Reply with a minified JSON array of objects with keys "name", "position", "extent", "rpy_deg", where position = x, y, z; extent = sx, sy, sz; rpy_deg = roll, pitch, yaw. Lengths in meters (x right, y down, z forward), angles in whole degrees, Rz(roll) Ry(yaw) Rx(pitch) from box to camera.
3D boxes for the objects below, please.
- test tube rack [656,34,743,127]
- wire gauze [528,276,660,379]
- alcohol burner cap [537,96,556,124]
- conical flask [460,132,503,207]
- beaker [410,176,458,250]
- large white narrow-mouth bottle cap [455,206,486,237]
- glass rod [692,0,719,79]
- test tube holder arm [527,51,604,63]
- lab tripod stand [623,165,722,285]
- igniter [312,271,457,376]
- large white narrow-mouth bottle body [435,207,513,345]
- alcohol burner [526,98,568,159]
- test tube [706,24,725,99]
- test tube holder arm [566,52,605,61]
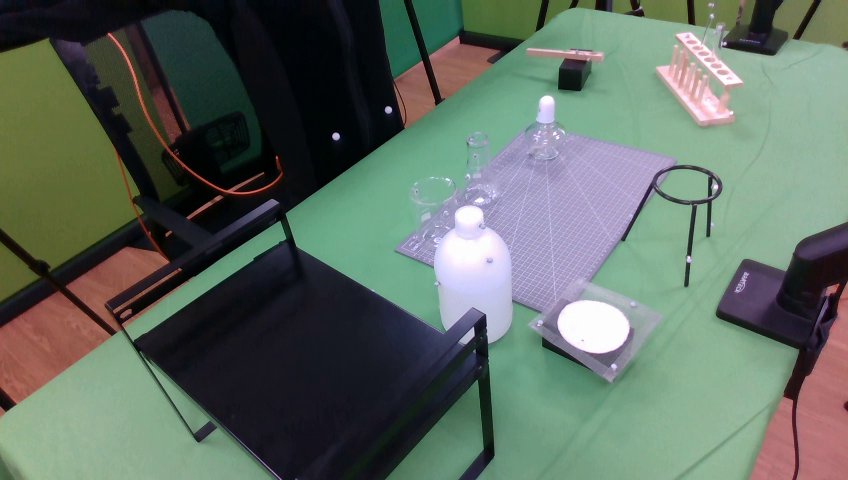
[{"name":"test tube rack","position":[0.553,-0.330,1.233],"extent":[0.067,0.085,0.241],"rpy_deg":[-7,40,2]},{"name":"wire gauze","position":[0.213,0.103,0.763],"extent":[0.124,0.011,0.122],"rpy_deg":[30,52,35]},{"name":"alcohol burner cap","position":[0.223,-0.238,1.095],"extent":[0.034,0.048,0.033],"rpy_deg":[-2,37,2]},{"name":"conical flask","position":[0.096,-0.123,1.030],"extent":[0.075,0.122,0.075],"rpy_deg":[-4,40,4]},{"name":"beaker","position":[0.022,-0.041,0.963],"extent":[0.073,0.101,0.084],"rpy_deg":[28,51,35]},{"name":"large white narrow-mouth bottle cap","position":[0.057,-0.023,0.734],"extent":[0.038,0.024,0.037],"rpy_deg":[-4,40,4]},{"name":"glass rod","position":[0.561,-0.401,1.213],"extent":[0.008,0.200,0.008],"rpy_deg":[-1,48,2]},{"name":"test tube holder arm","position":[0.311,-0.408,1.344],"extent":[0.177,0.015,0.013],"rpy_deg":[14,38,30]},{"name":"lab tripod stand","position":[0.365,-0.030,0.875],"extent":[0.148,0.132,0.147],"rpy_deg":[-6,41,6]},{"name":"igniter","position":[-0.068,0.111,0.859],"extent":[0.274,0.025,0.057],"rpy_deg":[27,61,34]},{"name":"large white narrow-mouth bottle body","position":[0.065,0.041,0.791],"extent":[0.102,0.195,0.101],"rpy_deg":[-4,41,4]},{"name":"alcohol burner","position":[0.228,-0.210,1.118],"extent":[0.078,0.119,0.077],"rpy_deg":[-5,43,5]},{"name":"test tube","position":[0.564,-0.342,1.168],"extent":[0.017,0.151,0.017],"rpy_deg":[-7,39,6]},{"name":"test tube holder arm","position":[0.352,-0.401,1.325],"extent":[0.087,0.015,0.010],"rpy_deg":[15,38,31]}]
